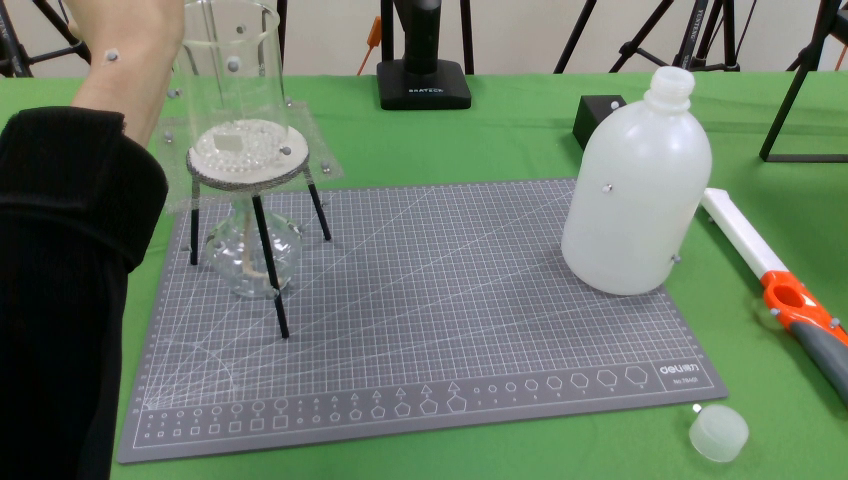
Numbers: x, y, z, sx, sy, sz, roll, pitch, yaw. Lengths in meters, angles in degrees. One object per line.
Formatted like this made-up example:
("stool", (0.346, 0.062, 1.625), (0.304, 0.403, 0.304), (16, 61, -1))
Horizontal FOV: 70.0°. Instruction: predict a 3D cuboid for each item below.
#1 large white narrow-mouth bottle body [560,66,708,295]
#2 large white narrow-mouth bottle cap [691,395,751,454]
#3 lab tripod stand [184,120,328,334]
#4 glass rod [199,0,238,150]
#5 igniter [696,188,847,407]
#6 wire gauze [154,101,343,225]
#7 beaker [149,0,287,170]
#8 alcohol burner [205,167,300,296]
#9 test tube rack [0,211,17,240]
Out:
("large white narrow-mouth bottle body", (0.182, -0.051, 0.515), (0.102, 0.196, 0.101), (2, 41, -1))
("large white narrow-mouth bottle cap", (0.217, 0.135, 0.443), (0.038, 0.024, 0.037), (2, 41, -1))
("lab tripod stand", (-0.134, -0.017, 0.497), (0.148, 0.132, 0.147), (4, 42, -3))
("glass rod", (-0.145, -0.155, 0.401), (0.008, 0.201, 0.008), (-2, 29, 1))
("igniter", (0.323, 0.040, 0.554), (0.057, 0.025, 0.273), (6, 40, -14))
("wire gauze", (-0.135, -0.067, 0.456), (0.122, 0.011, 0.123), (-14, 48, -17))
("beaker", (-0.138, -0.106, 0.425), (0.084, 0.101, 0.073), (-8, 44, -13))
("alcohol burner", (-0.144, -0.011, 0.505), (0.078, 0.120, 0.077), (4, 40, -3))
("test tube rack", (-0.485, 0.003, 0.487), (0.066, 0.086, 0.242), (32, 48, 28))
